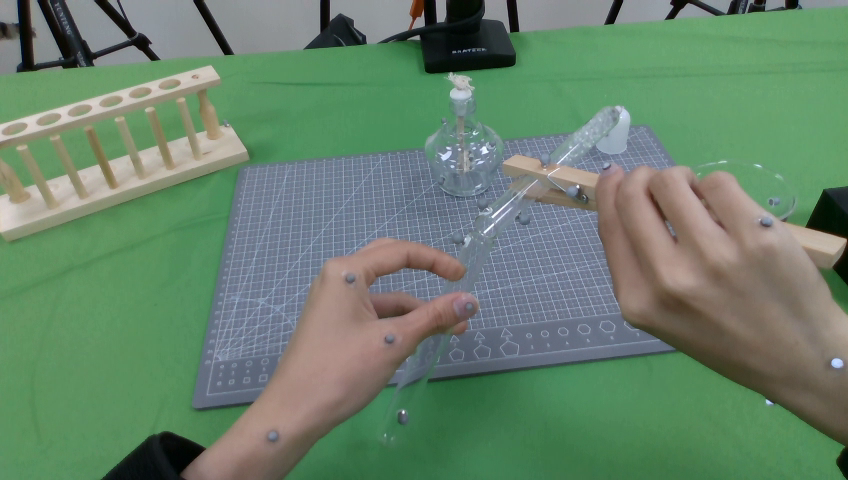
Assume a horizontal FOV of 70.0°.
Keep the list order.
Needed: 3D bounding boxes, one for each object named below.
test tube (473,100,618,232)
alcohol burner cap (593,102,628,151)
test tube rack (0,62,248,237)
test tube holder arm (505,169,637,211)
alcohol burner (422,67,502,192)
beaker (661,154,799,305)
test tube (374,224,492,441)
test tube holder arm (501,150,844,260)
[{"bbox_3d":[0.079,-0.049,0.367,0.017,0.017,0.150,28,50,29],"label":"test tube"},{"bbox_3d":[0.196,-0.122,0.634,0.034,0.048,0.033,-2,44,2],"label":"alcohol burner cap"},{"bbox_3d":[-0.315,-0.096,0.613,0.243,0.086,0.066,-23,47,-20],"label":"test tube rack"},{"bbox_3d":[0.081,-0.029,0.339,0.015,0.010,0.087,-36,31,-26],"label":"test tube holder arm"},{"bbox_3d":[0.036,-0.106,0.576,0.078,0.120,0.077,-3,42,3],"label":"alcohol burner"},{"bbox_3d":[0.227,-0.006,0.469,0.074,0.101,0.083,-27,48,-23],"label":"beaker"},{"bbox_3d":[0.002,0.058,0.352,0.017,0.151,0.017,21,20,-8],"label":"test tube"},{"bbox_3d":[0.108,-0.023,0.303,0.015,0.013,0.176,-37,37,-26],"label":"test tube holder arm"}]
